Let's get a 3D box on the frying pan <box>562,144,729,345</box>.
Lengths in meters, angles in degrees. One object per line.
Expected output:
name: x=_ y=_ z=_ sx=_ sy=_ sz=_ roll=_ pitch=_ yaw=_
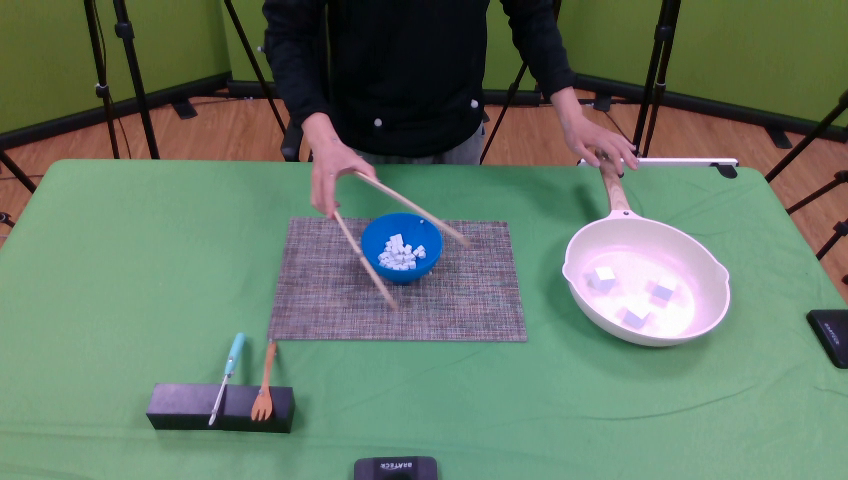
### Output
frying pan: x=0.396 y=-0.008 z=1.179 sx=0.307 sy=0.103 sz=0.484 roll=1 pitch=55 yaw=-4

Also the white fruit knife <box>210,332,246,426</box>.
white fruit knife: x=-0.301 y=0.206 z=0.930 sx=0.016 sy=0.027 sz=0.206 roll=5 pitch=29 yaw=-7

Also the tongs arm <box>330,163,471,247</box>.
tongs arm: x=-0.050 y=-0.065 z=0.984 sx=0.028 sy=0.028 sz=0.385 roll=-49 pitch=42 yaw=-8

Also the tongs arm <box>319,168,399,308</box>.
tongs arm: x=-0.105 y=-0.018 z=0.977 sx=0.051 sy=0.027 sz=0.382 roll=-40 pitch=40 yaw=-2

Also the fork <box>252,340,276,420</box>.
fork: x=-0.242 y=0.211 z=0.932 sx=0.028 sy=0.019 sz=0.206 roll=-6 pitch=27 yaw=-6

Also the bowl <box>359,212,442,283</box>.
bowl: x=-0.044 y=0.026 z=1.124 sx=0.151 sy=0.077 sz=0.150 roll=2 pitch=46 yaw=-2
